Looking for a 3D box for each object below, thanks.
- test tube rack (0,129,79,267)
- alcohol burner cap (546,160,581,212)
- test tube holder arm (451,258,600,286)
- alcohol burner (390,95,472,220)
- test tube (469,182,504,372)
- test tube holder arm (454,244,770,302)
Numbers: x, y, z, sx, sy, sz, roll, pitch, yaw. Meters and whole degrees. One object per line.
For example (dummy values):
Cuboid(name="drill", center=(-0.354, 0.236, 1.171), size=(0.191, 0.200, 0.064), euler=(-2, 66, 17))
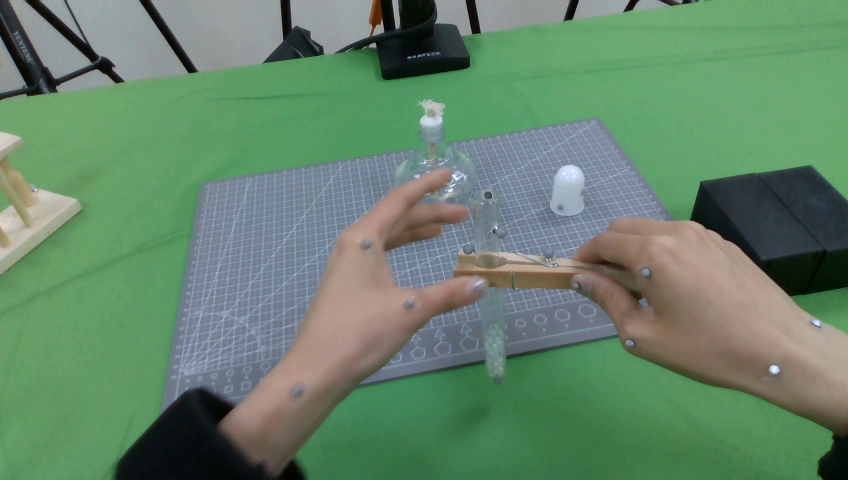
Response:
Cuboid(name="test tube rack", center=(-0.447, 0.003, 0.547), size=(0.066, 0.086, 0.241), euler=(14, 47, 20))
Cuboid(name="alcohol burner cap", center=(0.133, -0.052, 0.572), size=(0.034, 0.048, 0.033), euler=(-4, 43, 4))
Cuboid(name="test tube holder arm", center=(0.060, 0.019, 0.364), size=(0.087, 0.015, 0.010), euler=(1, 42, 10))
Cuboid(name="alcohol burner", center=(0.005, -0.078, 0.559), size=(0.078, 0.120, 0.077), euler=(-4, 42, 4))
Cuboid(name="test tube", center=(0.040, 0.031, 0.384), size=(0.017, 0.151, 0.017), euler=(-5, 36, 4))
Cuboid(name="test tube holder arm", center=(0.105, 0.018, 0.357), size=(0.178, 0.015, 0.013), euler=(5, 43, 15))
